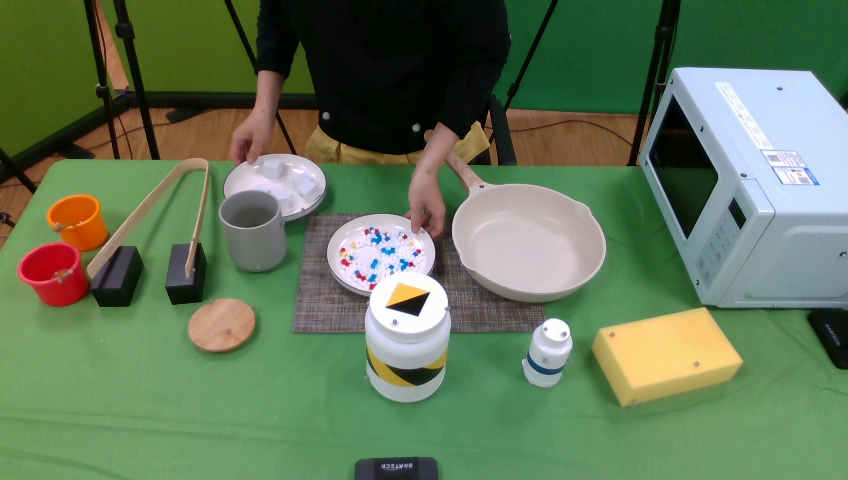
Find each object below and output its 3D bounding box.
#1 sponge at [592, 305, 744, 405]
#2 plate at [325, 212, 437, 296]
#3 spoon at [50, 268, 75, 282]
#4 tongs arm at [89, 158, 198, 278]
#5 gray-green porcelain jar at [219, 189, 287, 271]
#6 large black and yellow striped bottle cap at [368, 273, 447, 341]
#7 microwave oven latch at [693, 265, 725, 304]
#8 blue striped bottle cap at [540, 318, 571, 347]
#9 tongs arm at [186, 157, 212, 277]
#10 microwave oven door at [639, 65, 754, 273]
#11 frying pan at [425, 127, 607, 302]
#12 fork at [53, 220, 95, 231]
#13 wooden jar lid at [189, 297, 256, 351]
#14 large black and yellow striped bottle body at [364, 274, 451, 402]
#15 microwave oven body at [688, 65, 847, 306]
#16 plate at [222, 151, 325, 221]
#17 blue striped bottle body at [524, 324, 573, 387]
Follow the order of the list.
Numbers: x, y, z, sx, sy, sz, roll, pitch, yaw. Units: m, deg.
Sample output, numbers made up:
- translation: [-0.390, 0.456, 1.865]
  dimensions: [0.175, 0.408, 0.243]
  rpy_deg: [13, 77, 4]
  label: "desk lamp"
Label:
- translation: [0.405, 0.190, 1.015]
  dimensions: [0.207, 0.061, 0.117]
  rpy_deg: [-10, 48, -13]
  label: "sponge"
- translation: [-0.081, 0.030, 1.143]
  dimensions: [0.209, 0.038, 0.208]
  rpy_deg: [3, 46, -3]
  label: "plate"
- translation: [-0.604, 0.057, 1.012]
  dimensions: [0.041, 0.193, 0.021]
  rpy_deg: [-27, 99, -30]
  label: "spoon"
- translation: [-0.530, -0.058, 1.164]
  dimensions: [0.028, 0.028, 0.385]
  rpy_deg: [1, 36, 8]
  label: "tongs arm"
- translation: [-0.310, -0.014, 1.113]
  dimensions: [0.106, 0.127, 0.105]
  rpy_deg: [2, 46, -2]
  label: "gray-green porcelain jar"
- translation: [-0.023, 0.094, 0.875]
  dimensions: [0.115, 0.019, 0.114]
  rpy_deg: [2, 45, -2]
  label: "large black and yellow striped bottle cap"
- translation: [0.523, 0.081, 1.116]
  dimensions: [0.030, 0.029, 0.078]
  rpy_deg: [2, 46, -1]
  label: "microwave oven latch"
- translation: [0.203, 0.142, 0.933]
  dimensions: [0.044, 0.021, 0.044]
  rpy_deg: [3, 49, -3]
  label: "blue striped bottle cap"
- translation: [-0.445, -0.058, 1.168]
  dimensions: [0.051, 0.026, 0.382]
  rpy_deg: [-5, 37, -6]
  label: "tongs arm"
- translation: [0.522, -0.147, 1.193]
  dimensions: [0.039, 0.245, 0.353]
  rpy_deg: [0, 47, -3]
  label: "microwave oven door"
- translation: [0.143, -0.069, 1.208]
  dimensions: [0.307, 0.103, 0.485]
  rpy_deg: [-23, 60, -24]
  label: "frying pan"
- translation: [-0.627, -0.027, 1.086]
  dimensions: [0.028, 0.018, 0.207]
  rpy_deg: [0, 2, -15]
  label: "fork"
- translation: [-0.342, 0.145, 1.033]
  dimensions: [0.108, 0.021, 0.107]
  rpy_deg: [2, 45, -2]
  label: "wooden jar lid"
- translation: [-0.026, 0.151, 0.937]
  dimensions: [0.131, 0.185, 0.130]
  rpy_deg: [2, 47, -2]
  label: "large black and yellow striped bottle body"
- translation: [0.669, -0.111, 1.176]
  dimensions: [0.326, 0.261, 0.439]
  rpy_deg: [0, 46, -3]
  label: "microwave oven body"
- translation: [-0.310, -0.106, 1.263]
  dimensions: [0.208, 0.039, 0.206]
  rpy_deg: [2, 46, -2]
  label: "plate"
- translation: [0.200, 0.178, 0.970]
  dimensions: [0.063, 0.121, 0.062]
  rpy_deg: [2, 46, -2]
  label: "blue striped bottle body"
